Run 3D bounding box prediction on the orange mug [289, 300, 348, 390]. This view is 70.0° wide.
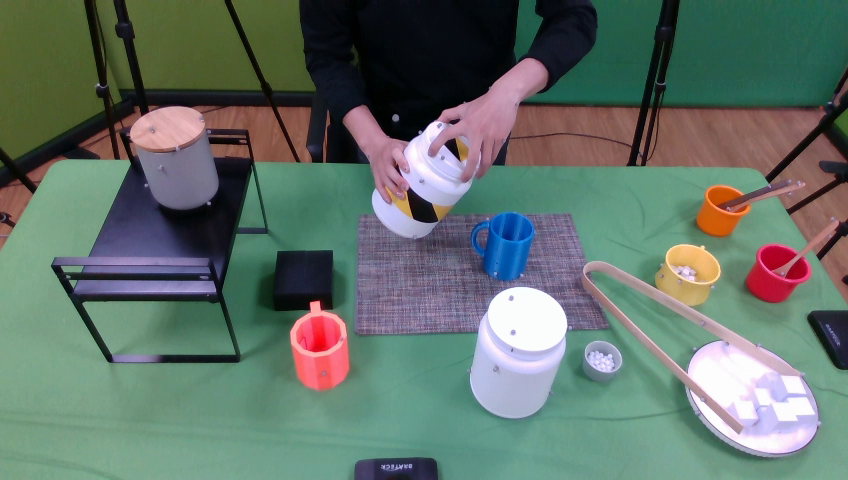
[{"bbox_3d":[-0.170,0.162,0.976,0.083,0.101,0.125,-8,52,-11],"label":"orange mug"}]

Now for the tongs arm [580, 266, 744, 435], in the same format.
[{"bbox_3d":[0.384,0.173,1.028,0.028,0.028,0.385,-25,46,-15],"label":"tongs arm"}]

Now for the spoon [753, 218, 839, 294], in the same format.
[{"bbox_3d":[0.700,0.031,1.138,0.194,0.022,0.041,-47,55,14],"label":"spoon"}]

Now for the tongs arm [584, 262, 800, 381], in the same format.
[{"bbox_3d":[0.452,0.137,1.064,0.051,0.027,0.382,-34,50,-27],"label":"tongs arm"}]

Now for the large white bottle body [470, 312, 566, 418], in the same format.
[{"bbox_3d":[0.143,0.173,0.930,0.131,0.185,0.130,2,46,-2],"label":"large white bottle body"}]

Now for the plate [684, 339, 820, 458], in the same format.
[{"bbox_3d":[0.523,0.256,0.982,0.208,0.039,0.206,2,46,-2],"label":"plate"}]

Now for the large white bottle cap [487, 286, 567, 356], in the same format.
[{"bbox_3d":[0.147,0.114,0.869,0.115,0.018,0.114,3,46,-3],"label":"large white bottle cap"}]

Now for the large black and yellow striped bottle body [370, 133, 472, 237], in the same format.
[{"bbox_3d":[0.002,-0.105,1.071,0.131,0.184,0.130,23,43,-23],"label":"large black and yellow striped bottle body"}]

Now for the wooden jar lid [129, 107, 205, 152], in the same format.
[{"bbox_3d":[-0.385,-0.163,0.915,0.108,0.021,0.107,2,47,-2],"label":"wooden jar lid"}]

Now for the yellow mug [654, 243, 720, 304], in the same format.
[{"bbox_3d":[0.504,0.054,1.154,0.099,0.064,0.130,28,50,22],"label":"yellow mug"}]

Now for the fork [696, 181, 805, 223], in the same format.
[{"bbox_3d":[0.659,-0.077,1.231,0.207,0.019,0.028,-26,35,34],"label":"fork"}]

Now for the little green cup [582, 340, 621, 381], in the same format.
[{"bbox_3d":[0.295,0.204,1.015,0.061,0.039,0.061,2,45,-2],"label":"little green cup"}]

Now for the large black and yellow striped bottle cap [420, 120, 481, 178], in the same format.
[{"bbox_3d":[0.046,-0.154,1.017,0.115,0.019,0.114,23,44,-24],"label":"large black and yellow striped bottle cap"}]

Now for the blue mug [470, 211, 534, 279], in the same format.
[{"bbox_3d":[0.141,0.005,1.140,0.116,0.106,0.082,18,48,13],"label":"blue mug"}]

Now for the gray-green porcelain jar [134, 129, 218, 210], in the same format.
[{"bbox_3d":[-0.388,-0.120,0.960,0.106,0.127,0.105,2,46,-2],"label":"gray-green porcelain jar"}]

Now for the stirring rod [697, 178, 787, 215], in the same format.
[{"bbox_3d":[0.650,-0.088,1.245,0.006,0.176,0.014,29,50,-39],"label":"stirring rod"}]
